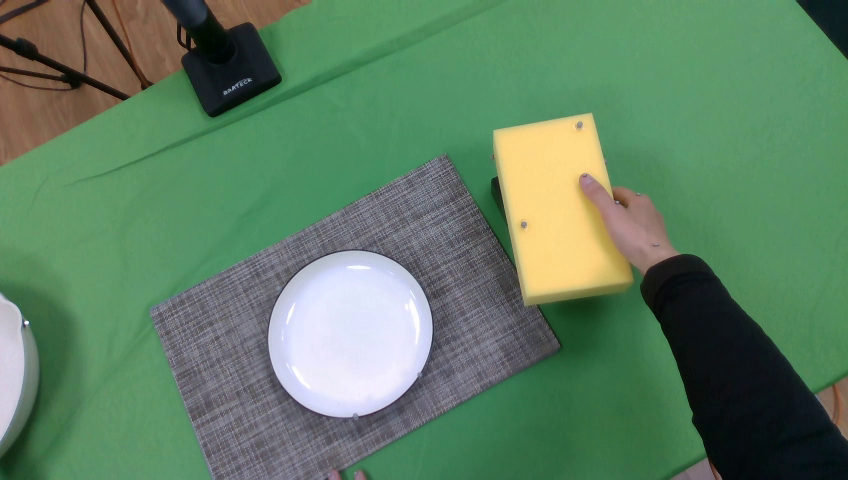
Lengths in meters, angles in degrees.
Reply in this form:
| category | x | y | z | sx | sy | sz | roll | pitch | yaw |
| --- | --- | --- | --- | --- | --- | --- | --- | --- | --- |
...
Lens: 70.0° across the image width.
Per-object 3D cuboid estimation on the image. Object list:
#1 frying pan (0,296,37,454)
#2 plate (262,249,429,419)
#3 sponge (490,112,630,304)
| category | x | y | z | sx | sy | sz | roll | pitch | yaw |
| --- | --- | --- | --- | --- | --- | --- | --- | --- | --- |
| frying pan | -0.574 | 0.261 | 0.734 | 0.307 | 0.103 | 0.483 | -36 | 66 | -3 |
| plate | -0.095 | 0.116 | 0.754 | 0.207 | 0.039 | 0.206 | -1 | 74 | 6 |
| sponge | 0.153 | -0.037 | 0.710 | 0.118 | 0.061 | 0.205 | -10 | 73 | 3 |
